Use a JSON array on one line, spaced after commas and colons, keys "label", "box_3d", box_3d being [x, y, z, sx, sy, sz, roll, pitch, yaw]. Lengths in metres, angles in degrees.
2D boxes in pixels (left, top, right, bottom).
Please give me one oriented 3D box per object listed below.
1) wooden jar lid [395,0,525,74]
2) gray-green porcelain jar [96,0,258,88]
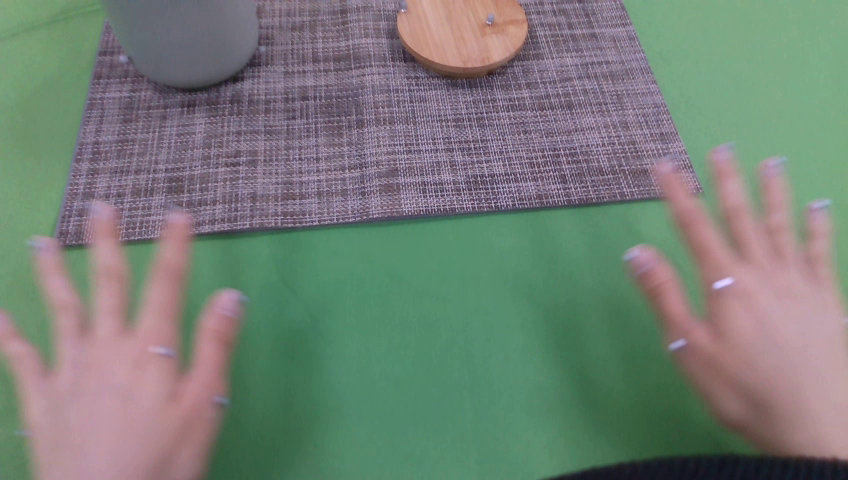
[{"label": "wooden jar lid", "box_3d": [0.030, -0.178, 0.507, 0.108, 0.021, 0.107, 1, 59, -1]}, {"label": "gray-green porcelain jar", "box_3d": [-0.182, -0.185, 0.439, 0.106, 0.127, 0.105, 1, 59, -1]}]
